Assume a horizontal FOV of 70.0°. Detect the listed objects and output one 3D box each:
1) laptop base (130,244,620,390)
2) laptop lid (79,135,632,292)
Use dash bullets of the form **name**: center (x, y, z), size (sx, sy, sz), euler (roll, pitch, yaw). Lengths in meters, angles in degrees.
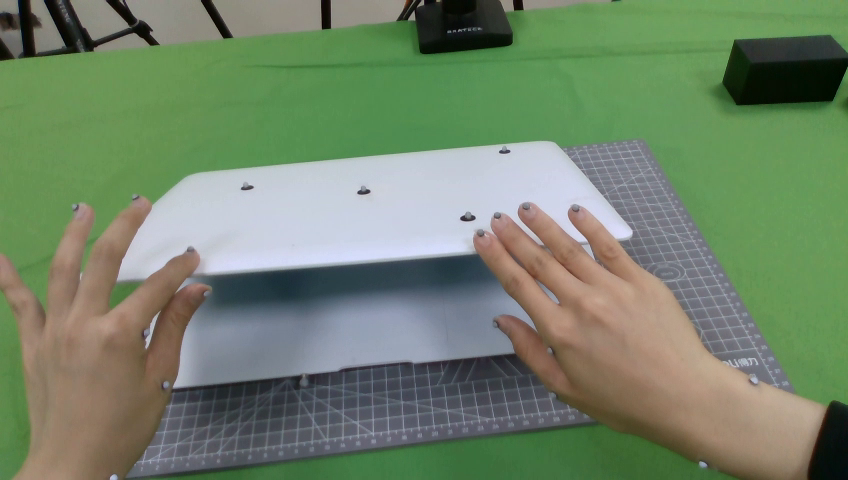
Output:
- **laptop base**: center (-0.042, 0.009, 0.509), size (0.354, 0.023, 0.233), euler (-6, 48, -1)
- **laptop lid**: center (-0.047, -0.035, 0.477), size (0.357, 0.013, 0.239), euler (-5, 25, 1)
